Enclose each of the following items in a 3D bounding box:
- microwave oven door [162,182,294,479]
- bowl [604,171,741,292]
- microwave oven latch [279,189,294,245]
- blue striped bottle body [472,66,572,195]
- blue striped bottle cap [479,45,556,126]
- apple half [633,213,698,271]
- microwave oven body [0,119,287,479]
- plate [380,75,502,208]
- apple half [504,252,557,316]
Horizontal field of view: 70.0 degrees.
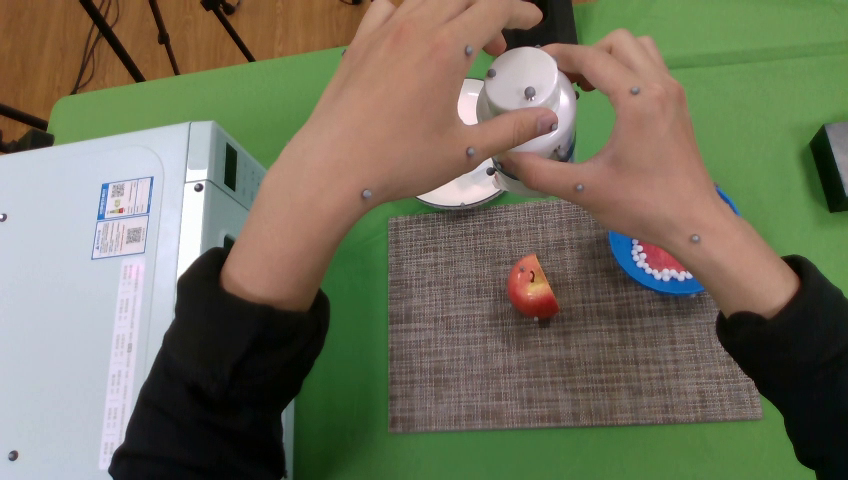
[{"bbox_3d":[-0.218,0.140,0.715,0.039,0.246,0.353,-8,70,11],"label":"microwave oven door"},{"bbox_3d":[0.299,-0.001,0.748,0.151,0.077,0.150,-4,71,12],"label":"bowl"},{"bbox_3d":[-0.206,-0.032,0.880,0.030,0.030,0.078,-7,71,10],"label":"microwave oven latch"},{"bbox_3d":[0.069,-0.078,0.411,0.063,0.121,0.063,-3,76,13],"label":"blue striped bottle body"},{"bbox_3d":[0.055,-0.092,0.357,0.044,0.021,0.044,-4,75,14],"label":"blue striped bottle cap"},{"bbox_3d":[0.299,-0.001,0.743,0.081,0.033,0.081,-4,70,11],"label":"apple half"},{"bbox_3d":[-0.362,0.121,0.759,0.325,0.262,0.438,-7,71,10],"label":"microwave oven body"},{"bbox_3d":[0.041,-0.139,0.880,0.207,0.039,0.206,-4,71,11],"label":"plate"},{"bbox_3d":[0.129,0.062,0.769,0.053,0.075,0.080,-25,72,8],"label":"apple half"}]
